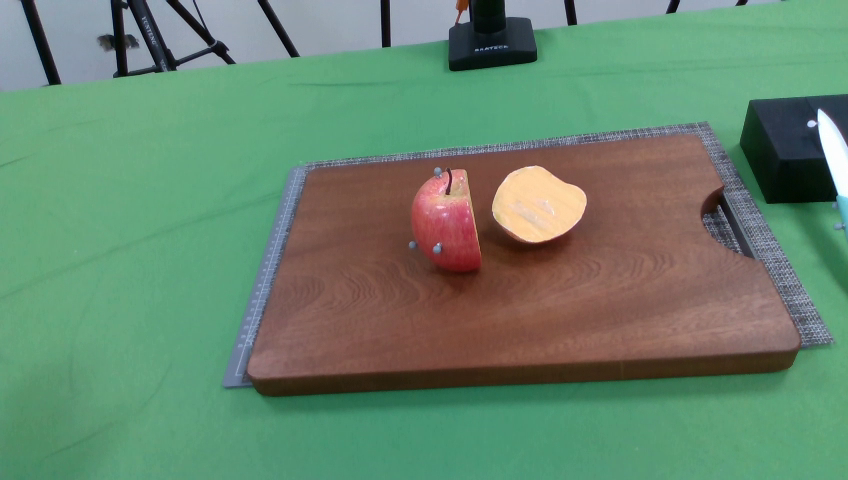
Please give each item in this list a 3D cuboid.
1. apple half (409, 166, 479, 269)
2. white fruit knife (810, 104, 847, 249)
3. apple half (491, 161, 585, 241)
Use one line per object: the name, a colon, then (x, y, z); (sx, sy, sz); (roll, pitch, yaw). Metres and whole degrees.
apple half: (0.015, -0.015, 0.499); (0.053, 0.075, 0.080); (-11, 46, 6)
white fruit knife: (0.348, -0.032, 0.495); (0.027, 0.016, 0.205); (-2, 60, 8)
apple half: (0.095, -0.027, 0.525); (0.081, 0.033, 0.080); (-3, 59, 6)
